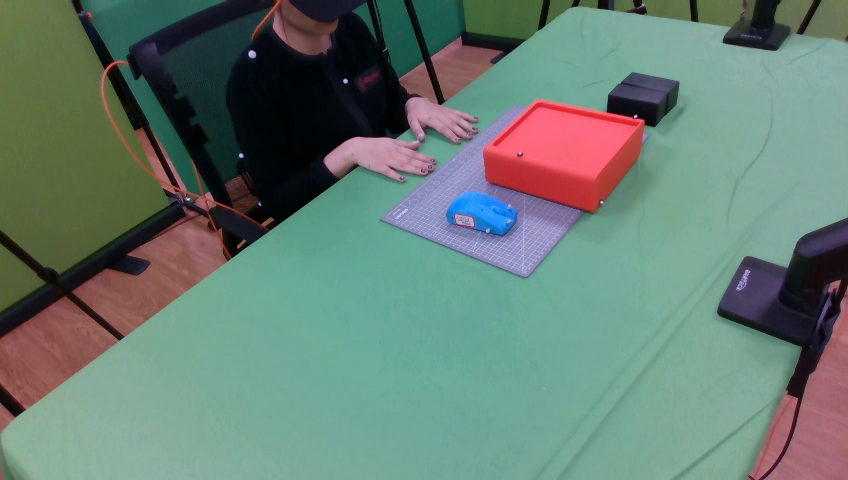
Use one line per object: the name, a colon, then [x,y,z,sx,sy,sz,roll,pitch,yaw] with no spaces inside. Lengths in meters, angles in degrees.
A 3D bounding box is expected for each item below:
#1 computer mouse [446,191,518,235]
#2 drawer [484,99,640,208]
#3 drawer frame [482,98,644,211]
computer mouse: [0.096,-0.048,1.004,0.116,0.041,0.063,18,45,23]
drawer: [0.244,-0.158,1.073,0.210,0.073,0.195,22,48,31]
drawer frame: [0.246,-0.158,1.071,0.212,0.083,0.202,21,48,30]
